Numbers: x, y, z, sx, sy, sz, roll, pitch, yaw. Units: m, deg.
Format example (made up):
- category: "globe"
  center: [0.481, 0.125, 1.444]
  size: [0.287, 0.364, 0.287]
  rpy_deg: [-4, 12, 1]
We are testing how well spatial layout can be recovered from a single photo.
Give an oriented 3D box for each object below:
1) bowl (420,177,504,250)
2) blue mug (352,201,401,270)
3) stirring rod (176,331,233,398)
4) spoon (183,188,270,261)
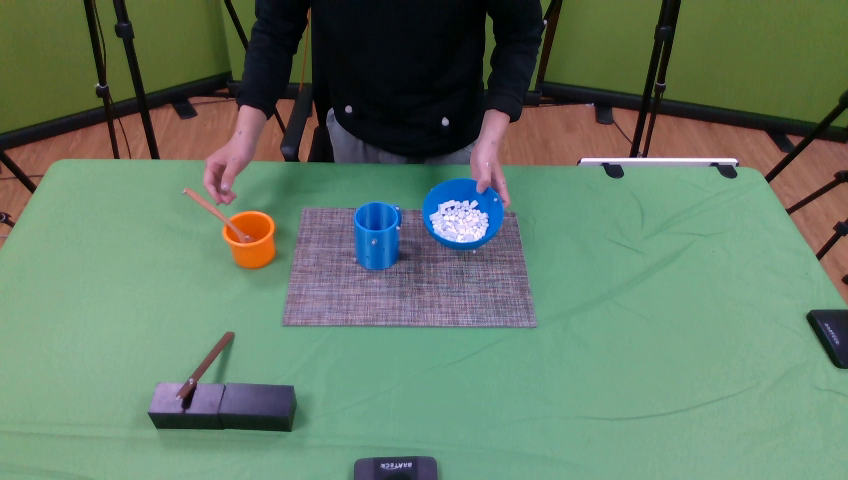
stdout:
- category: "bowl"
  center: [0.069, -0.035, 1.129]
  size: [0.151, 0.077, 0.150]
  rpy_deg: [-1, 56, 2]
- category: "blue mug"
  center: [-0.082, -0.017, 1.144]
  size: [0.082, 0.106, 0.116]
  rpy_deg: [30, 51, 22]
- category: "stirring rod"
  center: [-0.342, 0.192, 0.955]
  size: [0.014, 0.006, 0.175]
  rpy_deg: [3, 24, 7]
- category: "spoon"
  center: [-0.360, -0.029, 1.110]
  size: [0.021, 0.194, 0.041]
  rpy_deg: [-23, 30, 39]
